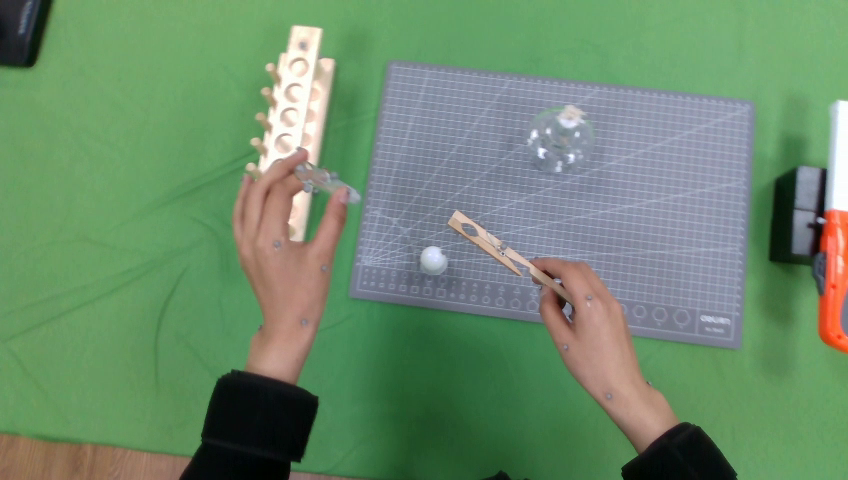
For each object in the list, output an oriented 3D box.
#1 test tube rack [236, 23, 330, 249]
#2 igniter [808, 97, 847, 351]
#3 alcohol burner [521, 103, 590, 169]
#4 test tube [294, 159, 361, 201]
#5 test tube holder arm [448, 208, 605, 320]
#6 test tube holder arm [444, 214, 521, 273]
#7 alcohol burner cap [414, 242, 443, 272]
[{"bbox_3d":[-0.167,-0.118,0.697,0.067,0.085,0.241,7,81,3],"label":"test tube rack"},{"bbox_3d":[0.442,-0.021,0.646,0.057,0.025,0.275,9,78,1],"label":"igniter"},{"bbox_3d":[0.148,-0.121,0.673,0.078,0.119,0.077,-1,80,4],"label":"alcohol burner"},{"bbox_3d":[-0.078,-0.048,0.514,0.017,0.150,0.017,0,87,8],"label":"test tube"},{"bbox_3d":[0.098,0.023,0.578,0.178,0.015,0.013,33,93,-2],"label":"test tube holder arm"},{"bbox_3d":[0.058,0.003,0.576,0.088,0.015,0.010,34,93,-2],"label":"test tube holder arm"},{"bbox_3d":[0.005,0.017,0.689,0.034,0.048,0.033,0,79,-1],"label":"alcohol burner cap"}]
